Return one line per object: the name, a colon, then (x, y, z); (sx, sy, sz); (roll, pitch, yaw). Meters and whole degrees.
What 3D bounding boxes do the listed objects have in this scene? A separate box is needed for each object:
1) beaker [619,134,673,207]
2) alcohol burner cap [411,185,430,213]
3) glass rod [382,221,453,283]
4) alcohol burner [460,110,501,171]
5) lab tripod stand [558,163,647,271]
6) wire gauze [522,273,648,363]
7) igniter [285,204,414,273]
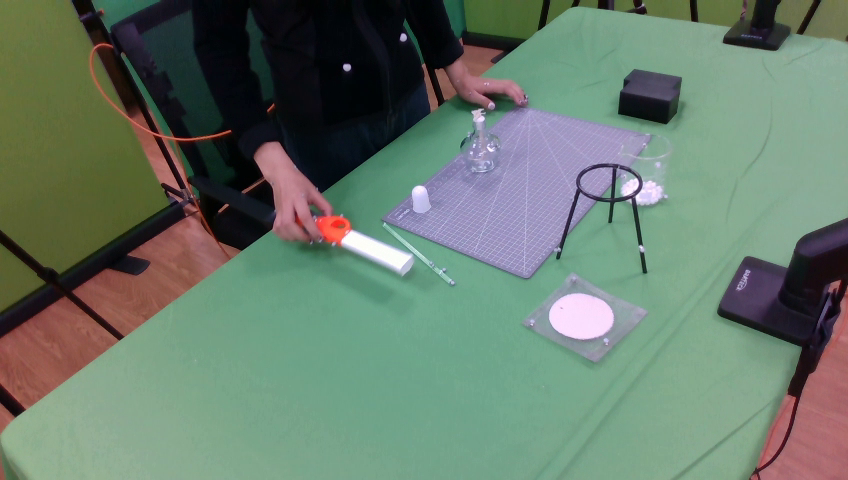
beaker: (0.357, -0.111, 0.986); (0.084, 0.101, 0.073); (-10, 40, 1)
alcohol burner cap: (-0.008, -0.074, 1.050); (0.034, 0.048, 0.033); (-4, 40, 4)
glass rod: (-0.014, 0.016, 0.976); (0.008, 0.008, 0.198); (-29, 44, -21)
alcohol burner: (0.103, -0.186, 1.105); (0.078, 0.119, 0.077); (-4, 42, 4)
lab tripod stand: (0.271, -0.034, 0.885); (0.148, 0.132, 0.147); (-4, 40, 4)
wire gauze: (0.220, 0.105, 0.828); (0.125, 0.011, 0.120); (-35, 47, -30)
igniter: (-0.129, -0.007, 0.962); (0.274, 0.025, 0.057); (22, 53, 33)
